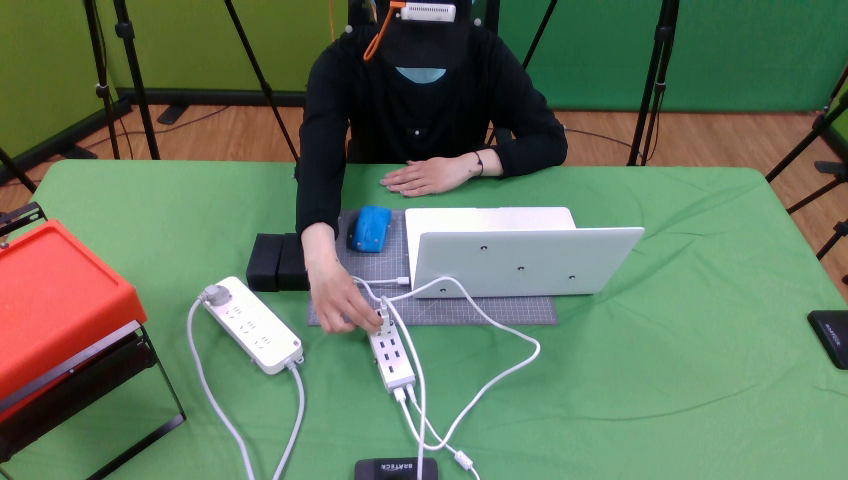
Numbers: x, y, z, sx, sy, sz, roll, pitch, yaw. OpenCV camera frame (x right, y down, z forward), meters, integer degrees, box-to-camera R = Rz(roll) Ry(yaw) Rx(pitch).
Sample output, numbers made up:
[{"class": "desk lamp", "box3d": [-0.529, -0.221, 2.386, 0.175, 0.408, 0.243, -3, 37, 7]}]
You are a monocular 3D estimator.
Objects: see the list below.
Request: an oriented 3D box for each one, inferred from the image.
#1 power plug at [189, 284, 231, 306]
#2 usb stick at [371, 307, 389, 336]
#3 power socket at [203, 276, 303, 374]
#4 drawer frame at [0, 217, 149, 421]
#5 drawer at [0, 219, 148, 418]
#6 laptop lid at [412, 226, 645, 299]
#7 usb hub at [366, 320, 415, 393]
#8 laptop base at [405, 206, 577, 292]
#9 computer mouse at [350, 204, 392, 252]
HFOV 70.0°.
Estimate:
[{"class": "power plug", "box3d": [-0.367, 0.100, 1.037, 0.072, 0.053, 0.035, -24, 53, -27]}, {"class": "usb stick", "box3d": [-0.073, 0.140, 1.009, 0.027, 0.059, 0.021, -14, 48, -17]}, {"class": "power socket", "box3d": [-0.296, 0.141, 1.034, 0.072, 0.033, 0.225, -35, 58, -30]}, {"class": "drawer frame", "box3d": [-0.510, 0.093, 0.780, 0.201, 0.083, 0.213, 31, 52, 23]}, {"class": "drawer", "box3d": [-0.509, 0.093, 0.783, 0.193, 0.073, 0.211, 32, 53, 24]}, {"class": "laptop lid", "box3d": [0.161, 0.043, 1.012, 0.357, 0.242, 0.013, 0, 59, -7]}, {"class": "usb hub", "box3d": [-0.056, 0.192, 1.008, 0.049, 0.025, 0.124, -12, 48, -17]}, {"class": "laptop base", "box3d": [0.143, 0.018, 1.196, 0.355, 0.023, 0.234, -1, 43, -6]}, {"class": "computer mouse", "box3d": [-0.104, -0.027, 1.202, 0.063, 0.041, 0.116, 11, 51, 3]}]
